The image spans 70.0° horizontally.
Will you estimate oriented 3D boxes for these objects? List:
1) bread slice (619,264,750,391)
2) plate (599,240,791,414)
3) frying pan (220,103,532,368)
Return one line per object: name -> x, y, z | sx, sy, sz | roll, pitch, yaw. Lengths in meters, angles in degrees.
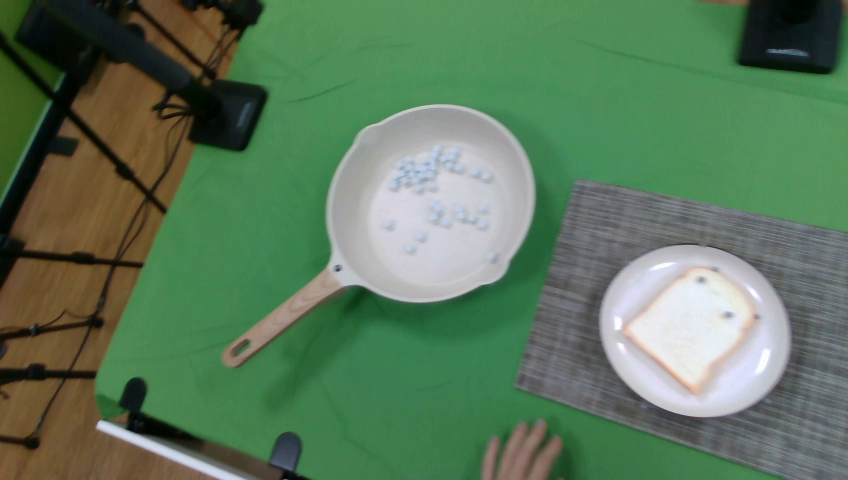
bread slice -> 0.317, 0.095, 0.727 | 0.106, 0.018, 0.134 | 40, 87, 23
plate -> 0.317, 0.103, 0.723 | 0.207, 0.039, 0.206 | -5, 70, 14
frying pan -> -0.075, 0.013, 0.832 | 0.488, 0.103, 0.304 | -37, 65, -8
